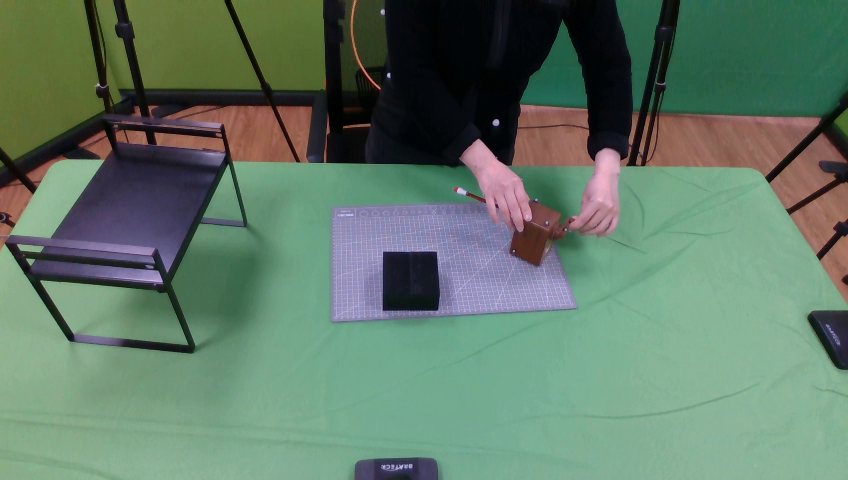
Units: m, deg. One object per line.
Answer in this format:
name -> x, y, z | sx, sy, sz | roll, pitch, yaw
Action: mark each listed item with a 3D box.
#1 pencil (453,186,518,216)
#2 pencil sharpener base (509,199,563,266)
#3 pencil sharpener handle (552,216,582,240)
pencil -> 0.141, -0.066, 1.176 | 0.193, 0.012, 0.012 | 25, 50, 22
pencil sharpener base -> 0.216, -0.012, 1.160 | 0.076, 0.107, 0.061 | 27, 50, 20
pencil sharpener handle -> 0.269, -0.020, 1.132 | 0.030, 0.036, 0.067 | 27, 53, 21
